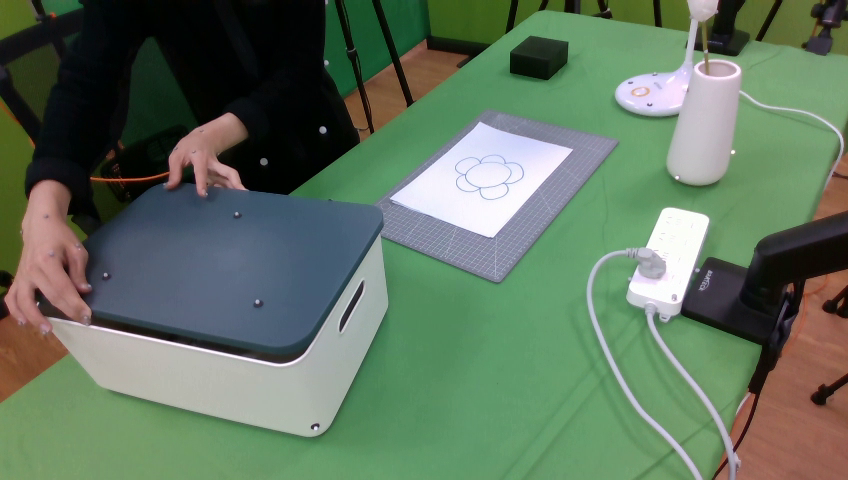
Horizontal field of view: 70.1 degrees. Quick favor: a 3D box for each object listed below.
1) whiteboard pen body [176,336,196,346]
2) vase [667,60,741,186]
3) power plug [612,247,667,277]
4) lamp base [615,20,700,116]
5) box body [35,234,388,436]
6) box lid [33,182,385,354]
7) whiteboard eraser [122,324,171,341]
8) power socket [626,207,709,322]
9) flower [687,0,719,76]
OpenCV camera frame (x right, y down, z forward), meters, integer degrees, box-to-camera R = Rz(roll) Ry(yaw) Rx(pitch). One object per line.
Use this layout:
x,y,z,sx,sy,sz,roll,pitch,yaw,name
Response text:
-0.302,0.112,0.828,0.017,0.017,0.141,8,37,17,whiteboard pen body
0.463,-0.189,0.994,0.098,0.201,0.097,-4,40,4,vase
0.306,0.031,0.852,0.072,0.053,0.035,21,48,37,power plug
0.484,-0.364,1.211,0.180,0.181,0.159,-15,41,-14,lamp base
-0.251,0.088,0.799,0.362,0.161,0.254,7,42,16,box body
-0.255,0.017,0.753,0.370,0.015,0.263,8,39,16,box lid
-0.386,0.139,0.828,0.055,0.042,0.112,9,41,6,whiteboard eraser
0.360,0.026,0.886,0.072,0.033,0.227,17,46,27,power socket
0.436,-0.241,0.934,0.038,0.364,0.043,-23,49,9,flower
